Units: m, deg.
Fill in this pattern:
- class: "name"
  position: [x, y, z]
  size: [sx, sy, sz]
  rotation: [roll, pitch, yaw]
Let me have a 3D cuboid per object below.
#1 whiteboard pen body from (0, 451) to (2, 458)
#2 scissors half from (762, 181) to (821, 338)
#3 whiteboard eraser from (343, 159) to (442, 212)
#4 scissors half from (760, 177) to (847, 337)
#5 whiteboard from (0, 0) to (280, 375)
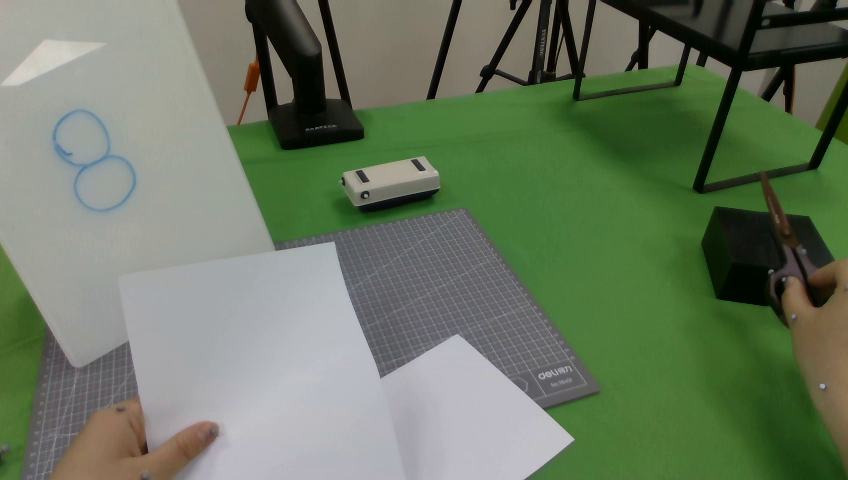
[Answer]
- class: "whiteboard pen body"
  position: [-0.352, 0.191, 0.401]
  size: [0.017, 0.017, 0.140]
  rotation: [20, 39, 22]
- class: "scissors half"
  position: [0.324, 0.009, 0.553]
  size: [0.040, 0.013, 0.174]
  rotation: [6, 55, 9]
- class: "whiteboard eraser"
  position: [-0.038, -0.066, 0.744]
  size: [0.113, 0.042, 0.055]
  rotation: [-13, 41, -20]
- class: "scissors half"
  position: [0.344, 0.009, 0.552]
  size: [0.040, 0.013, 0.173]
  rotation: [-5, 55, -6]
- class: "whiteboard"
  position: [-0.310, -0.074, 0.574]
  size: [0.143, 0.307, 0.217]
  rotation: [9, 33, 45]
